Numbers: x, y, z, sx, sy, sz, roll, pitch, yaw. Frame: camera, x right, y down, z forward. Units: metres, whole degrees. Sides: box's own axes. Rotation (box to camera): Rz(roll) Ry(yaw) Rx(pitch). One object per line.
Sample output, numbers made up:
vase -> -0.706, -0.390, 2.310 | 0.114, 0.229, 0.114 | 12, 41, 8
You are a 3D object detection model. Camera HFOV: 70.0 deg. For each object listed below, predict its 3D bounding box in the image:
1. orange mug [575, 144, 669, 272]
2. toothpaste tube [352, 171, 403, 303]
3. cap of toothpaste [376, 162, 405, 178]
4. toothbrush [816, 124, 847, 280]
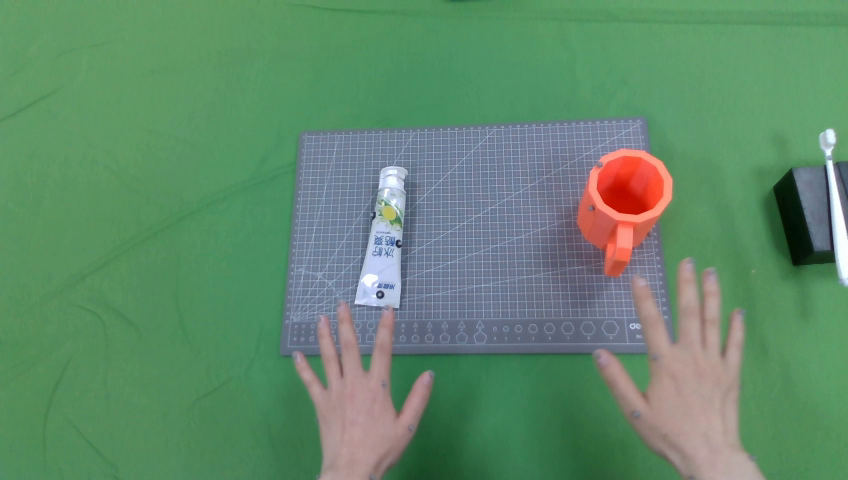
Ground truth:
orange mug -> 0.217, -0.031, 0.677 | 0.083, 0.101, 0.125 | 7, 67, 8
toothpaste tube -> -0.051, -0.007, 0.734 | 0.055, 0.035, 0.164 | 2, 75, 12
cap of toothpaste -> -0.041, -0.085, 0.753 | 0.037, 0.037, 0.011 | -5, 69, 4
toothbrush -> 0.443, -0.045, 0.654 | 0.014, 0.017, 0.180 | 4, 72, 4
